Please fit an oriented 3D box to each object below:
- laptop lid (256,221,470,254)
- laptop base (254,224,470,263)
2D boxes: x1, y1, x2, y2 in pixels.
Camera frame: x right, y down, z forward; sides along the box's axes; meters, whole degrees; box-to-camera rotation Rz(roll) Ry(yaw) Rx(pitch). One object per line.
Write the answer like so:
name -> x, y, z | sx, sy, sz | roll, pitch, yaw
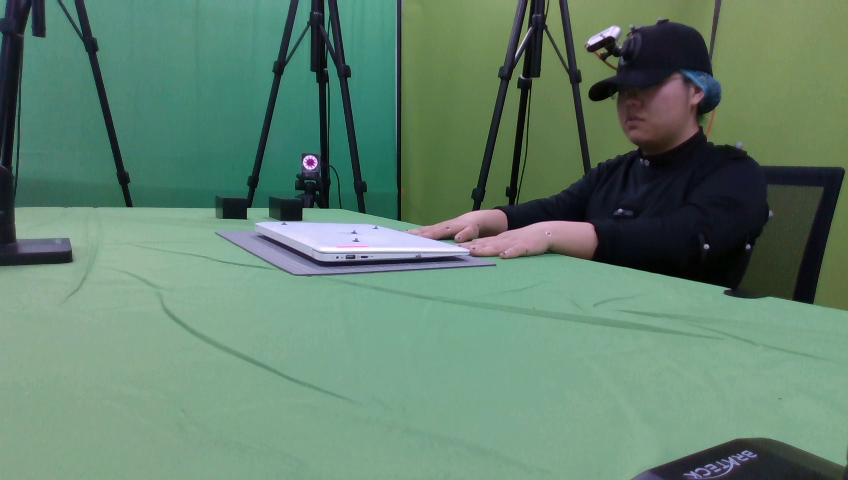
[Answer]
laptop lid -> -0.114, -0.007, 0.970 | 0.243, 0.013, 0.355 | 1, 7, -28
laptop base -> -0.117, 0.005, 0.970 | 0.237, 0.023, 0.352 | 2, 6, -30
